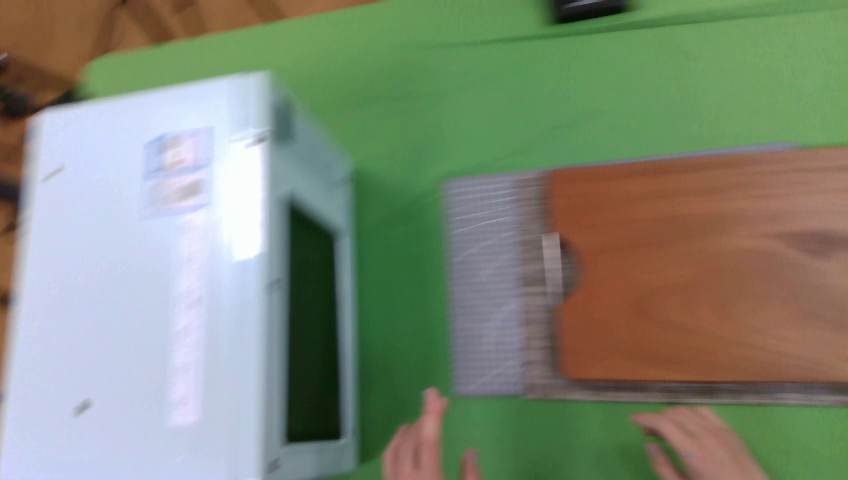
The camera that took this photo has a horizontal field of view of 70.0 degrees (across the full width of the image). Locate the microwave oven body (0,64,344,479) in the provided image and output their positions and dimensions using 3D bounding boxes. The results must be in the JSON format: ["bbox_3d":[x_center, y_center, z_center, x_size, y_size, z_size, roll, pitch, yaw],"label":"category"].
[{"bbox_3d":[-0.282,0.063,0.741,0.325,0.262,0.439,-6,74,12],"label":"microwave oven body"}]

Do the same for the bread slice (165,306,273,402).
[{"bbox_3d":[-0.269,0.141,0.777,0.131,0.019,0.104,12,82,11],"label":"bread slice"}]

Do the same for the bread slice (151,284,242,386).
[{"bbox_3d":[-0.266,0.119,0.705,0.134,0.018,0.106,-18,72,23],"label":"bread slice"}]

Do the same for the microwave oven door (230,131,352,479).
[{"bbox_3d":[-0.140,0.087,0.692,0.039,0.245,0.353,-6,73,13],"label":"microwave oven door"}]

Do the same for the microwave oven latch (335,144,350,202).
[{"bbox_3d":[-0.119,-0.093,0.848,0.030,0.030,0.078,-6,74,12],"label":"microwave oven latch"}]

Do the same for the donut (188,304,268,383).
[{"bbox_3d":[-0.242,0.128,0.747,0.099,0.048,0.099,0,90,4],"label":"donut"}]
